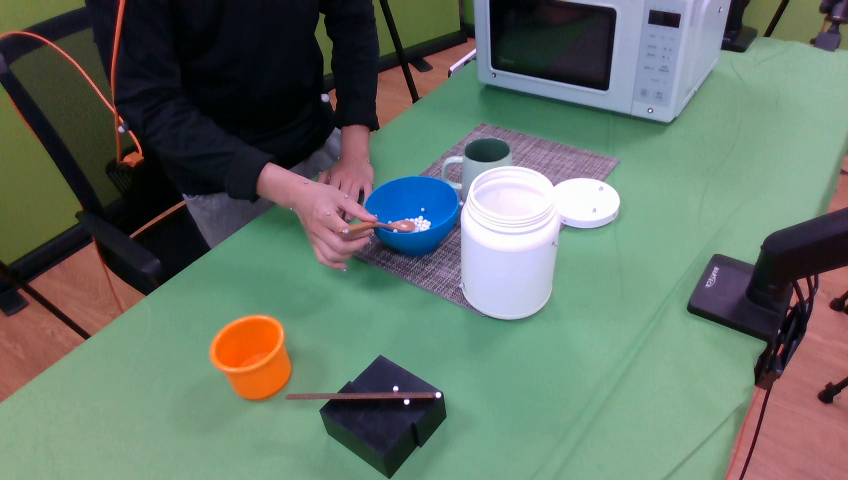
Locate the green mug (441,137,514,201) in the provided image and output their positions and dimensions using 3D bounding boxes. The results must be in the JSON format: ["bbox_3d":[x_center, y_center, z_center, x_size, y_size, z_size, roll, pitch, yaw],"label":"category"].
[{"bbox_3d":[0.091,-0.108,1.012,0.125,0.105,0.092,2,42,11],"label":"green mug"}]

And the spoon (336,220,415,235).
[{"bbox_3d":[-0.070,-0.019,0.886,0.041,0.021,0.195,18,9,26],"label":"spoon"}]

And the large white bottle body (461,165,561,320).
[{"bbox_3d":[0.115,0.003,0.816,0.130,0.185,0.130,-2,43,2],"label":"large white bottle body"}]

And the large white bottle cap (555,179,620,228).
[{"bbox_3d":[0.265,-0.062,1.001,0.115,0.018,0.114,-3,41,3],"label":"large white bottle cap"}]

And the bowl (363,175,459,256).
[{"bbox_3d":[-0.016,-0.028,0.955,0.151,0.077,0.150,-4,40,4],"label":"bowl"}]

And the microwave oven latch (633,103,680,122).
[{"bbox_3d":[0.444,-0.249,1.157,0.078,0.029,0.030,21,49,30],"label":"microwave oven latch"}]

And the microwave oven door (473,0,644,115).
[{"bbox_3d":[0.257,-0.396,1.199,0.353,0.245,0.039,21,48,29],"label":"microwave oven door"}]

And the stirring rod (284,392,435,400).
[{"bbox_3d":[-0.075,0.180,0.698,0.176,0.006,0.014,-2,6,6],"label":"stirring rod"}]

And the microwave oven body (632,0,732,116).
[{"bbox_3d":[0.377,-0.462,1.267,0.438,0.261,0.327,21,49,30],"label":"microwave oven body"}]
